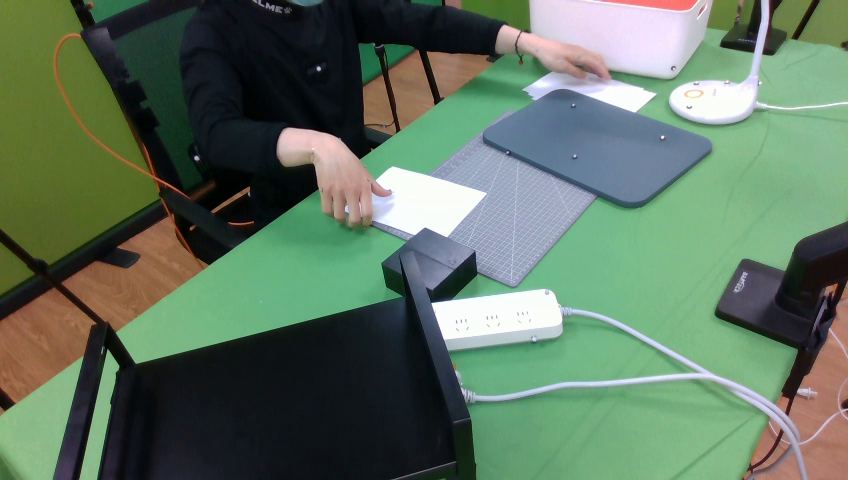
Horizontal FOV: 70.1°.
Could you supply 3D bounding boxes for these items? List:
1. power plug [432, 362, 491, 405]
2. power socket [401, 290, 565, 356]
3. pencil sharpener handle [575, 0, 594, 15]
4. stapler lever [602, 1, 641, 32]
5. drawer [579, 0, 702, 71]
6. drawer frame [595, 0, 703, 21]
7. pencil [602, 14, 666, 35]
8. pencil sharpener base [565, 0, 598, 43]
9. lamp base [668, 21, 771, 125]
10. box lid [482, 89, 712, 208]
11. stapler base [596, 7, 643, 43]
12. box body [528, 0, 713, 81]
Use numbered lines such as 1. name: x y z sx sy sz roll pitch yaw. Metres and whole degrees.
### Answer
1. power plug: 0.045 0.182 0.758 0.073 0.035 0.052 22 43 -18
2. power socket: 0.080 0.112 0.822 0.227 0.033 0.072 -7 41 0
3. pencil sharpener handle: 0.401 -0.594 1.511 0.036 0.067 0.030 36 49 -1
4. stapler lever: 0.451 -0.516 1.378 0.118 0.040 0.026 -39 63 -18
5. drawer: 0.484 -0.489 1.361 0.210 0.073 0.194 24 63 21
6. drawer frame: 0.487 -0.490 1.360 0.212 0.083 0.202 24 62 20
7. pencil: 0.483 -0.494 1.388 0.195 0.012 0.012 -22 42 -20
8. pencil sharpener base: 0.388 -0.550 1.483 0.061 0.107 0.077 14 44 23
9. lamp base: 0.577 -0.333 1.155 0.179 0.181 0.160 6 42 12
10. box lid: 0.320 -0.190 1.156 0.264 0.015 0.368 -33 47 -28
11. stapler base: 0.452 -0.502 1.397 0.131 0.024 0.041 -39 63 -19
12. box body: 0.450 -0.512 1.398 0.361 0.161 0.254 19 48 28
